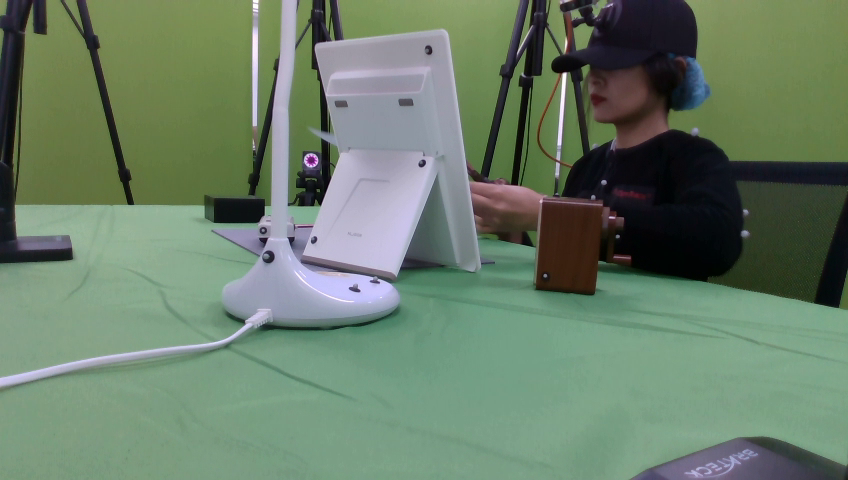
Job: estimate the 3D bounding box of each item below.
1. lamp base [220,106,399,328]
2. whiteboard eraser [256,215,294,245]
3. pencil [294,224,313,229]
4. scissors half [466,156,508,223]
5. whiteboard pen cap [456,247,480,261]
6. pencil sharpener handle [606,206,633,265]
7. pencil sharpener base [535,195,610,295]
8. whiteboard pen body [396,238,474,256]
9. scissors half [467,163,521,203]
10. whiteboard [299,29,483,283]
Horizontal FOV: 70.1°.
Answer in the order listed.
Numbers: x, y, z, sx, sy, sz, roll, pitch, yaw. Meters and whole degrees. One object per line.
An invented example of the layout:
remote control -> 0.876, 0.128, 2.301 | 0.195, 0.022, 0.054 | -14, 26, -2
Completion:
lamp base -> -0.101, -0.023, 0.531 | 0.160, 0.180, 0.179 | 4, 10, 10
whiteboard eraser -> -0.232, -0.016, 0.951 | 0.056, 0.042, 0.112 | 2, 7, -12
pencil -> -0.221, -0.028, 1.210 | 0.195, 0.012, 0.012 | -5, 10, -34
scissors half -> 0.100, -0.105, 1.110 | 0.040, 0.175, 0.012 | -36, 8, -28
whiteboard pen cap -> 0.061, 0.020, 0.851 | 0.033, 0.018, 0.018 | 11, 11, 38
pencil sharpener handle -> 0.223, -0.004, 0.683 | 0.030, 0.068, 0.036 | 5, 21, 16
pencil sharpener base -> 0.172, 0.005, 0.695 | 0.076, 0.107, 0.061 | 5, 7, 16
whiteboard pen body -> 0.015, 0.011, 0.885 | 0.140, 0.017, 0.017 | 8, 9, 38
scissors half -> 0.112, -0.122, 1.120 | 0.176, 0.040, 0.013 | 29, -26, -21
whiteboard -> -0.074, -0.082, 0.742 | 0.216, 0.305, 0.144 | 9, 30, 38
